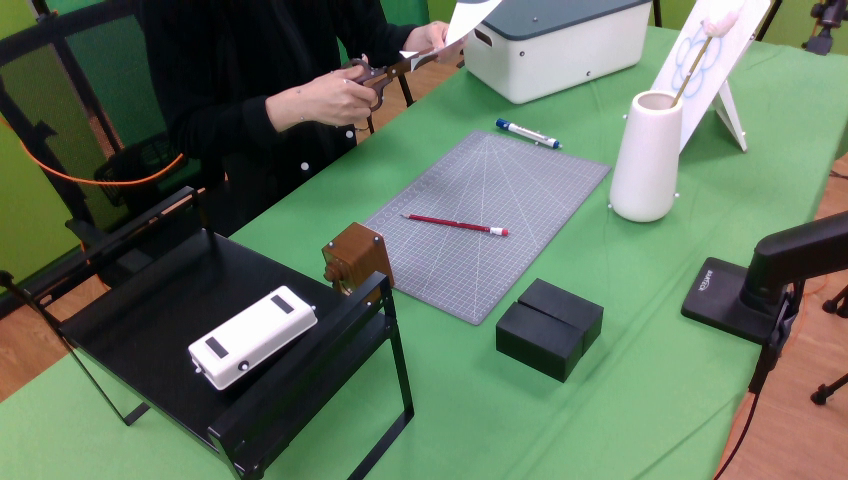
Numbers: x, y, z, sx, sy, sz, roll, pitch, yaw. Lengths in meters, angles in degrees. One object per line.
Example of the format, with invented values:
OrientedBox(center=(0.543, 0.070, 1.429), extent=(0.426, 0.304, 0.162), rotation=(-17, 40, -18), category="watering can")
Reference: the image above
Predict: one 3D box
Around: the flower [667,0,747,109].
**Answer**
OrientedBox(center=(0.354, -0.187, 0.879), extent=(0.038, 0.362, 0.044), rotation=(30, 48, 14), category="flower")

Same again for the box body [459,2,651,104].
OrientedBox(center=(0.291, -0.465, 1.371), extent=(0.365, 0.161, 0.252), rotation=(-22, 42, -16), category="box body")

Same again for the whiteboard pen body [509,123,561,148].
OrientedBox(center=(0.208, -0.211, 1.195), extent=(0.139, 0.017, 0.017), rotation=(30, 52, 33), category="whiteboard pen body")

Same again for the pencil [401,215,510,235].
OrientedBox(center=(0.049, -0.027, 1.007), extent=(0.193, 0.012, 0.012), rotation=(10, 43, 21), category="pencil")

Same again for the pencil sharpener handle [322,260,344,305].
OrientedBox(center=(-0.131, 0.061, 0.839), extent=(0.035, 0.068, 0.031), rotation=(29, 56, 27), category="pencil sharpener handle")

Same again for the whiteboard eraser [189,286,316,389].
OrientedBox(center=(-0.166, 0.096, 0.593), extent=(0.113, 0.042, 0.055), rotation=(-36, 47, -29), category="whiteboard eraser")

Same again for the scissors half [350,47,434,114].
OrientedBox(center=(-0.049, -0.241, 0.912), extent=(0.174, 0.040, 0.013), rotation=(-30, 10, 37), category="scissors half")

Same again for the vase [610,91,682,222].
OrientedBox(center=(0.348, -0.125, 0.935), extent=(0.098, 0.201, 0.097), rotation=(-3, 40, 3), category="vase")

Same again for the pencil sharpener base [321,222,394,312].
OrientedBox(center=(-0.096, 0.041, 0.873), extent=(0.061, 0.107, 0.077), rotation=(26, 54, 32), category="pencil sharpener base")

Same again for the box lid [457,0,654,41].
OrientedBox(center=(0.285, -0.522, 1.323), extent=(0.373, 0.015, 0.261), rotation=(-22, 43, -16), category="box lid")

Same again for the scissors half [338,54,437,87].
OrientedBox(center=(-0.058, -0.260, 0.906), extent=(0.174, 0.040, 0.013), rotation=(-2, 31, 27), category="scissors half")

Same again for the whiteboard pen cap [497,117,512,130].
OrientedBox(center=(0.165, -0.235, 1.227), extent=(0.033, 0.018, 0.018), rotation=(32, 54, 30), category="whiteboard pen cap")

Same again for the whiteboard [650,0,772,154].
OrientedBox(center=(0.543, -0.298, 1.076), extent=(0.144, 0.305, 0.216), rotation=(12, 40, -7), category="whiteboard")
